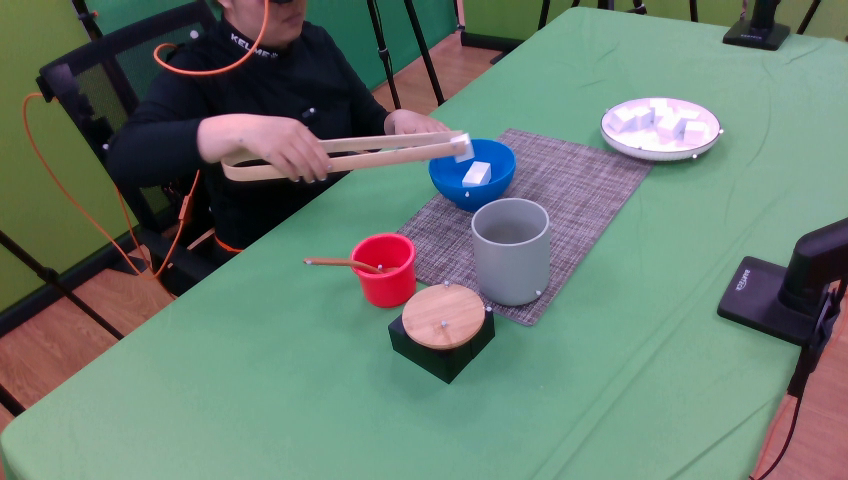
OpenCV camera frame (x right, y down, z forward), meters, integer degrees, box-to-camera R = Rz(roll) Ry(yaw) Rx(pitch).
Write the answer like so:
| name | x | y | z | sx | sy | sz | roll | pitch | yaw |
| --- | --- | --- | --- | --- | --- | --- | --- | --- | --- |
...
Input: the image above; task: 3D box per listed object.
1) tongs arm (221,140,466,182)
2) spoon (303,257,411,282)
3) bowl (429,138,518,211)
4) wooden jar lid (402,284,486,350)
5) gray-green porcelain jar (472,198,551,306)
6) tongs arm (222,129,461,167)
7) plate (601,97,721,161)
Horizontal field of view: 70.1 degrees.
| name | x | y | z | sx | sy | sz | roll | pitch | yaw |
| --- | --- | --- | --- | --- | --- | --- | --- | --- | --- |
| tongs arm | -0.125 | -0.134 | 0.971 | 0.386 | 0.026 | 0.050 | -10 | 44 | -10 |
| spoon | -0.092 | 0.038 | 0.865 | 0.195 | 0.021 | 0.041 | 16 | 15 | -46 |
| bowl | 0.087 | -0.104 | 1.043 | 0.151 | 0.077 | 0.150 | -5 | 40 | 5 |
| wooden jar lid | 0.026 | 0.101 | 0.786 | 0.108 | 0.021 | 0.108 | -5 | 39 | 4 |
| gray-green porcelain jar | 0.125 | 0.021 | 0.850 | 0.106 | 0.127 | 0.105 | -6 | 40 | 5 |
| tongs arm | -0.129 | -0.150 | 0.989 | 0.388 | 0.028 | 0.028 | -7 | 47 | -7 |
| plate | 0.436 | -0.202 | 1.126 | 0.209 | 0.038 | 0.208 | -5 | 39 | 5 |
